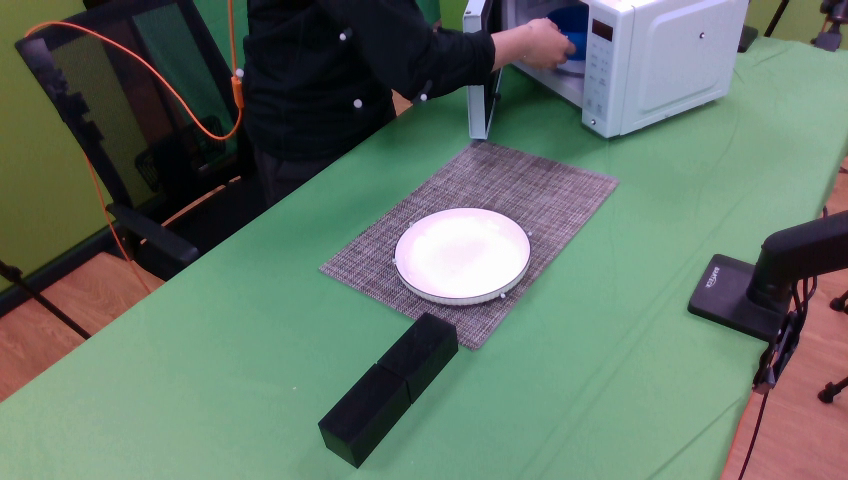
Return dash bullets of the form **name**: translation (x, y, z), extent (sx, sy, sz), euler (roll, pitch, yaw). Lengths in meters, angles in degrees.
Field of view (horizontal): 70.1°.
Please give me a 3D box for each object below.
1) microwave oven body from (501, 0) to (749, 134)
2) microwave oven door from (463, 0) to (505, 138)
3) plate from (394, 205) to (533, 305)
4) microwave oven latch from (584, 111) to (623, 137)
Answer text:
- **microwave oven body**: translation (0.382, -0.444, 1.246), extent (0.327, 0.261, 0.437), euler (-22, 42, -16)
- **microwave oven door**: translation (0.127, -0.404, 1.226), extent (0.039, 0.245, 0.355), euler (2, 42, 12)
- **plate**: translation (0.059, 0.025, 0.915), extent (0.207, 0.039, 0.206), euler (-4, 41, 4)
- **microwave oven latch**: translation (0.337, -0.222, 1.142), extent (0.030, 0.029, 0.078), euler (-21, 42, -14)
